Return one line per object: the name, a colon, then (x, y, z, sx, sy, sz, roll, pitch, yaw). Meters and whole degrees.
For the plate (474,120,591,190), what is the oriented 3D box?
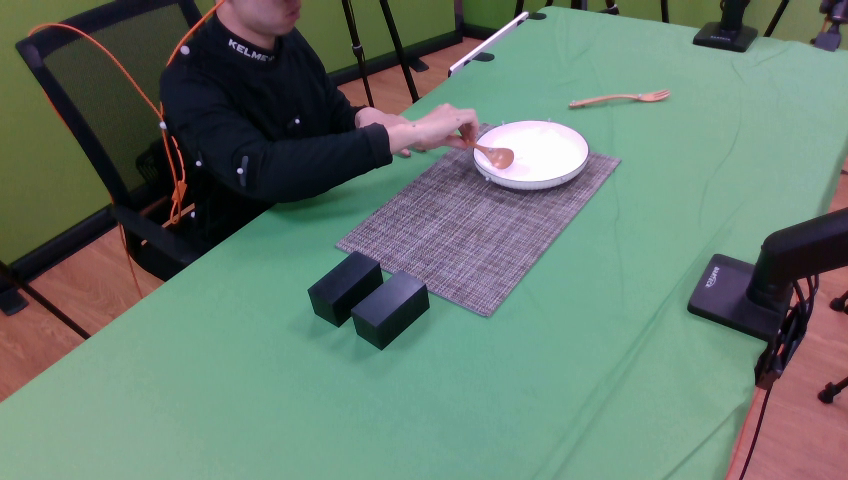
plate: (0.196, -0.151, 1.099, 0.207, 0.039, 0.206, -4, 40, 4)

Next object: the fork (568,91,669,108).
fork: (0.402, -0.290, 1.252, 0.207, 0.019, 0.028, -4, 47, 1)

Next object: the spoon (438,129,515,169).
spoon: (0.092, -0.174, 1.109, 0.192, 0.022, 0.041, 31, 95, 35)
